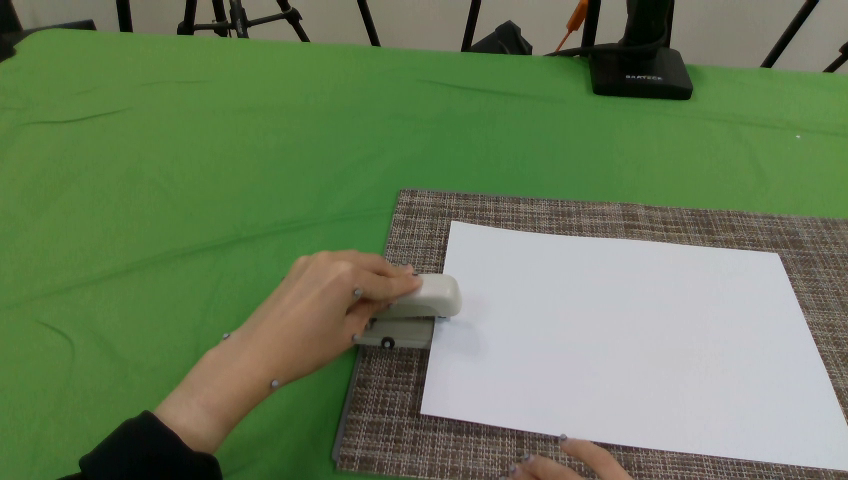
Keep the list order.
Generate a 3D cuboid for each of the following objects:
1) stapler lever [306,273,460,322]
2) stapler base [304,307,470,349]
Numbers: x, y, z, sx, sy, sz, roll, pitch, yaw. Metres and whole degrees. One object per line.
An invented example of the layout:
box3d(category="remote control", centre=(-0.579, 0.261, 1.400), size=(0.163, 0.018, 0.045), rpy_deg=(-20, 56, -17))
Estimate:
box3d(category="stapler lever", centre=(-0.031, 0.043, 0.464), size=(0.118, 0.040, 0.026), rpy_deg=(3, 41, 4))
box3d(category="stapler base", centre=(-0.029, 0.060, 0.480), size=(0.130, 0.024, 0.041), rpy_deg=(2, 41, 5))
